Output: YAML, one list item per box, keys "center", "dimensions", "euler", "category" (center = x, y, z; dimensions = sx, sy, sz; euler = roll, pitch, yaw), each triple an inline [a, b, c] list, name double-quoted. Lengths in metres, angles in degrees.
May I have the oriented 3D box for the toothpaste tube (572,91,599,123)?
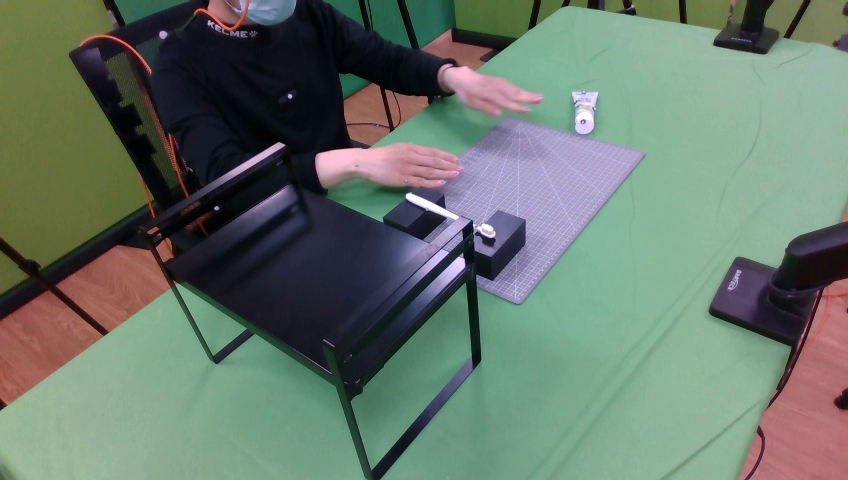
- center: [0.331, -0.272, 1.234]
  dimensions: [0.055, 0.034, 0.164]
  euler: [8, 39, 8]
  category: "toothpaste tube"

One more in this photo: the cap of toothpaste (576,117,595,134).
- center: [0.313, -0.224, 1.172]
  dimensions: [0.037, 0.037, 0.011]
  euler: [-2, 41, 6]
  category: "cap of toothpaste"

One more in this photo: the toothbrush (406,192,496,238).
- center: [0.037, -0.043, 0.936]
  dimensions: [0.180, 0.017, 0.014]
  euler: [26, 66, 35]
  category: "toothbrush"
